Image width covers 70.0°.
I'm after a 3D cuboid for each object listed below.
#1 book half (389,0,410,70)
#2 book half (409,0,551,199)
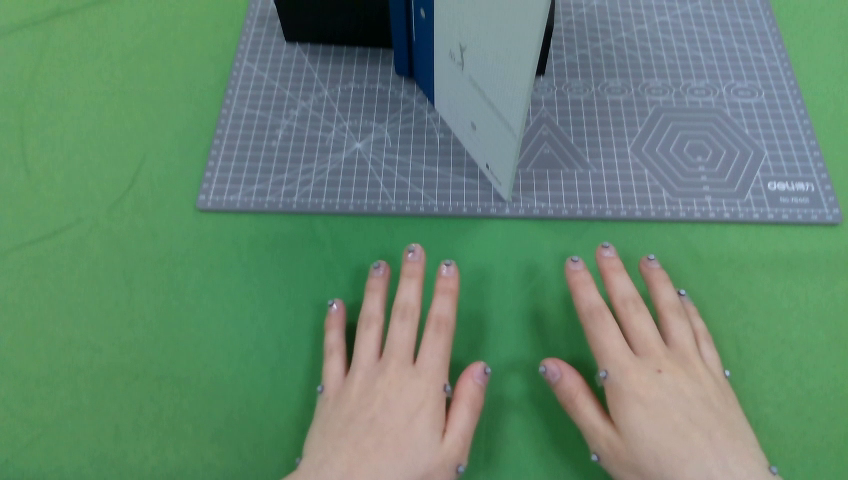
[{"bbox_3d":[-0.003,-0.248,0.426,0.016,0.212,0.147,11,62,6],"label":"book half"},{"bbox_3d":[0.024,-0.132,0.363,0.007,0.212,0.142,-26,64,-14],"label":"book half"}]
